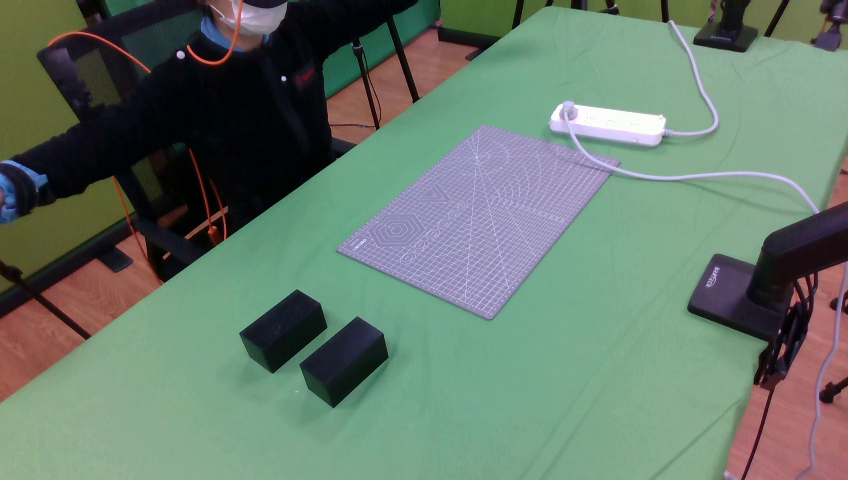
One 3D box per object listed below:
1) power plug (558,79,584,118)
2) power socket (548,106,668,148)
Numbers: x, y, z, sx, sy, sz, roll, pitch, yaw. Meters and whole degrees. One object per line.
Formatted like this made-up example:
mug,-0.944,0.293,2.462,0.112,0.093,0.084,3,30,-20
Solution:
power plug,0.279,-0.268,1.157,0.035,0.073,0.052,-45,37,-21
power socket,0.352,-0.223,1.170,0.225,0.033,0.072,15,46,23
